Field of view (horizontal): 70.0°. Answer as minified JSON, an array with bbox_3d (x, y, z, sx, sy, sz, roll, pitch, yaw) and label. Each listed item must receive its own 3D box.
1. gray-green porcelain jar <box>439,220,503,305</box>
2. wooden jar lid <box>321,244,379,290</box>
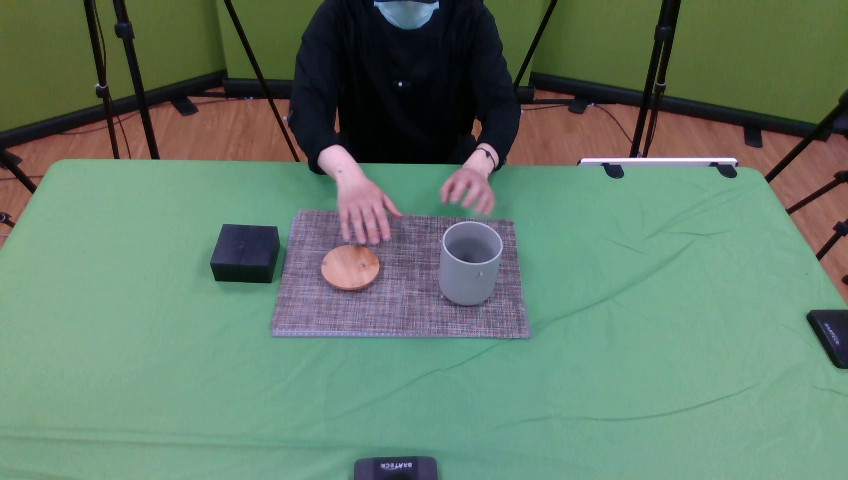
[{"bbox_3d":[0.080,0.046,1.078,0.106,0.127,0.105,2,46,-2],"label":"gray-green porcelain jar"},{"bbox_3d":[-0.137,0.053,1.131,0.108,0.021,0.107,1,46,-1],"label":"wooden jar lid"}]
